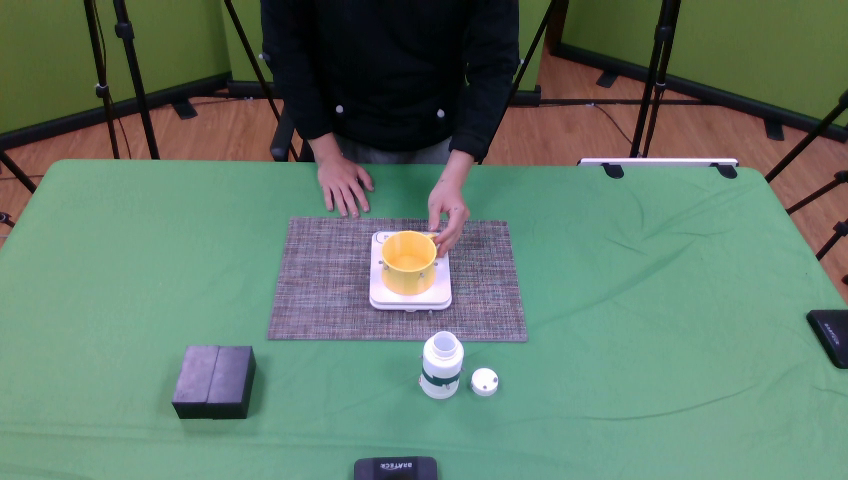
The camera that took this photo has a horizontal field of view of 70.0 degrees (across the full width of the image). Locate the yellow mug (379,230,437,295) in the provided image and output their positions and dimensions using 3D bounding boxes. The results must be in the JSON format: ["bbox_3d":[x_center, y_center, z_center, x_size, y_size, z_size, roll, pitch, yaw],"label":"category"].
[{"bbox_3d":[-0.020,0.030,1.089,0.099,0.064,0.130,31,51,24],"label":"yellow mug"}]

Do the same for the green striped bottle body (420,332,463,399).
[{"bbox_3d":[0.027,0.193,0.948,0.063,0.120,0.063,2,47,-2],"label":"green striped bottle body"}]

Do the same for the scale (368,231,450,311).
[{"bbox_3d":[-0.029,0.048,1.137,0.149,0.032,0.199,1,46,-4],"label":"scale"}]

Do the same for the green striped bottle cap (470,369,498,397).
[{"bbox_3d":[0.098,0.232,0.989,0.044,0.020,0.044,2,41,-1],"label":"green striped bottle cap"}]
